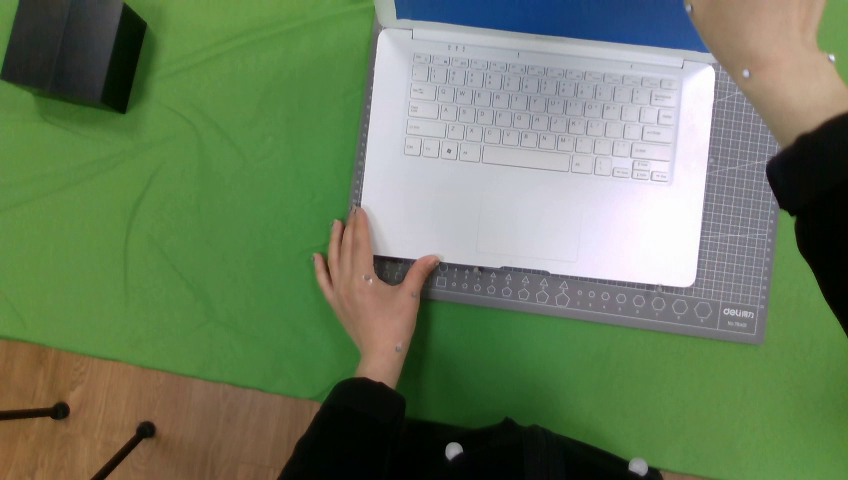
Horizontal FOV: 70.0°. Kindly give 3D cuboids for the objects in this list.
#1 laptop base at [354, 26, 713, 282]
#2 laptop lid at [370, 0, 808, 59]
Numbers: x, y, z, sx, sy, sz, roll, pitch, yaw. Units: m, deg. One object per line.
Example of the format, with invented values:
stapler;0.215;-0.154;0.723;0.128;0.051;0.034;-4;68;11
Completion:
laptop base;0.113;-0.089;0.631;0.354;0.023;0.235;6;92;-1
laptop lid;0.126;-0.207;0.514;0.357;0.241;0.013;5;90;1
